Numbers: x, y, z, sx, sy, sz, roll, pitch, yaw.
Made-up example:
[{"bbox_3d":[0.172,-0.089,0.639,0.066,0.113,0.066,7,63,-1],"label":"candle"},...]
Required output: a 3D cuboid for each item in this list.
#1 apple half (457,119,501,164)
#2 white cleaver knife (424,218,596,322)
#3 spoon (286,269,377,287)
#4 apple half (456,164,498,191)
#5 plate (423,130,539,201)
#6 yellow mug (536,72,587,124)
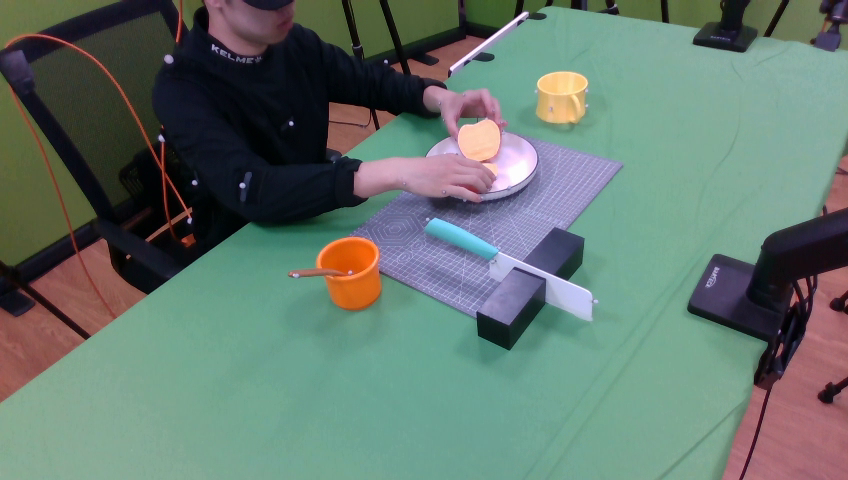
[{"bbox_3d":[0.103,-0.177,1.104,0.080,0.053,0.074,-17,83,9],"label":"apple half"},{"bbox_3d":[0.114,0.042,0.865,0.284,0.066,0.021,27,47,28],"label":"white cleaver knife"},{"bbox_3d":[-0.125,0.050,0.831,0.041,0.195,0.021,22,92,28],"label":"spoon"},{"bbox_3d":[0.098,-0.105,1.052,0.081,0.033,0.081,-18,14,5],"label":"apple half"},{"bbox_3d":[0.103,-0.132,1.092,0.209,0.038,0.208,-4,40,4],"label":"plate"},{"bbox_3d":[0.285,-0.281,1.222,0.100,0.064,0.130,-16,42,-9],"label":"yellow mug"}]
